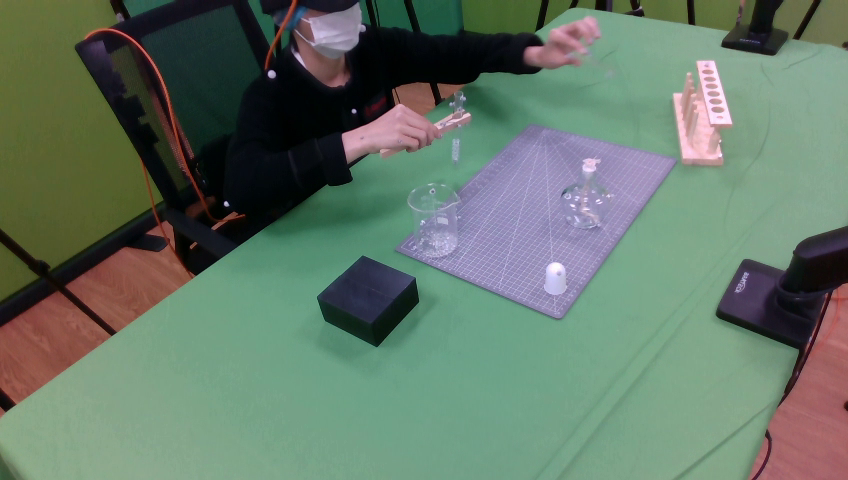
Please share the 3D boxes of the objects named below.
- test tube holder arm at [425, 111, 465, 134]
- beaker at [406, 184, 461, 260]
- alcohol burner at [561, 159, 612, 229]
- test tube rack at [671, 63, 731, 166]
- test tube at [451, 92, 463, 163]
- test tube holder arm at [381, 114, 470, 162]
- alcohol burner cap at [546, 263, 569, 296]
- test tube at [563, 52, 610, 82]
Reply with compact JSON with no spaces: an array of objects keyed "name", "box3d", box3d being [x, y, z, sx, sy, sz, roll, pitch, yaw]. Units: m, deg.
[{"name":"test tube holder arm","box3d":[0.036,-0.194,1.020,0.088,0.015,0.010,-36,53,-29]},{"name":"beaker","box3d":[0.019,-0.026,0.939,0.084,0.101,0.074,1,41,9]},{"name":"alcohol burner","box3d":[0.257,-0.077,0.951,0.078,0.119,0.077,-3,40,3]},{"name":"test tube rack","box3d":[0.513,-0.240,1.132,0.066,0.085,0.242,4,41,14]},{"name":"test tube","box3d":[0.056,-0.190,1.044,0.017,0.151,0.017,0,50,0]},{"name":"test tube holder arm","box3d":[0.005,-0.170,0.997,0.179,0.015,0.013,-30,50,-25]},{"name":"alcohol burner cap","box3d":[0.191,0.053,0.862,0.034,0.048,0.033,-5,40,4]},{"name":"test tube","box3d":[0.296,-0.311,1.090,0.152,0.017,0.017,5,23,-45]}]
